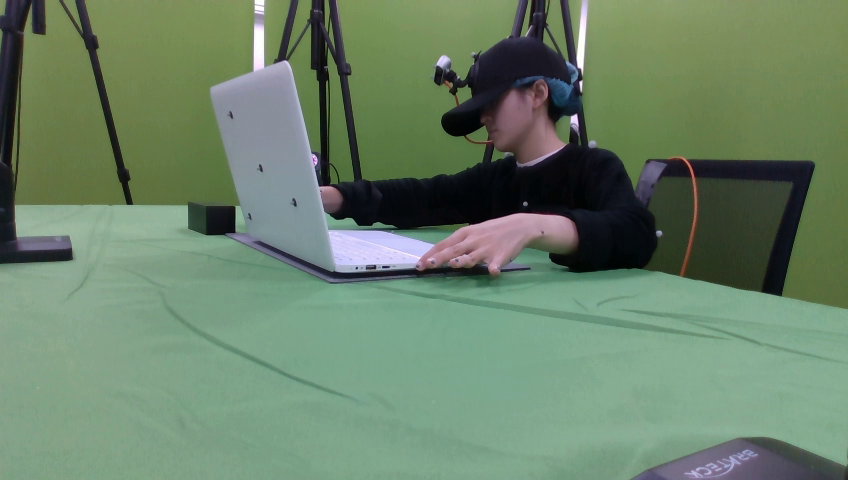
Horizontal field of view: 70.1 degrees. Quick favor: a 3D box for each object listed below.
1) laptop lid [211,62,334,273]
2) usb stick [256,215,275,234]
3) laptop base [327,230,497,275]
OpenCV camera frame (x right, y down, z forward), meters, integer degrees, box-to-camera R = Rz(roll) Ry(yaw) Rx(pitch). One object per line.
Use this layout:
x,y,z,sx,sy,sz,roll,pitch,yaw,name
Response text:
-0.211,-0.095,0.791,0.013,0.241,0.355,-18,18,-29,laptop lid
-0.262,-0.024,1.007,0.021,0.027,0.059,-2,15,-29,usb stick
-0.090,0.016,0.884,0.237,0.023,0.352,3,6,-32,laptop base
